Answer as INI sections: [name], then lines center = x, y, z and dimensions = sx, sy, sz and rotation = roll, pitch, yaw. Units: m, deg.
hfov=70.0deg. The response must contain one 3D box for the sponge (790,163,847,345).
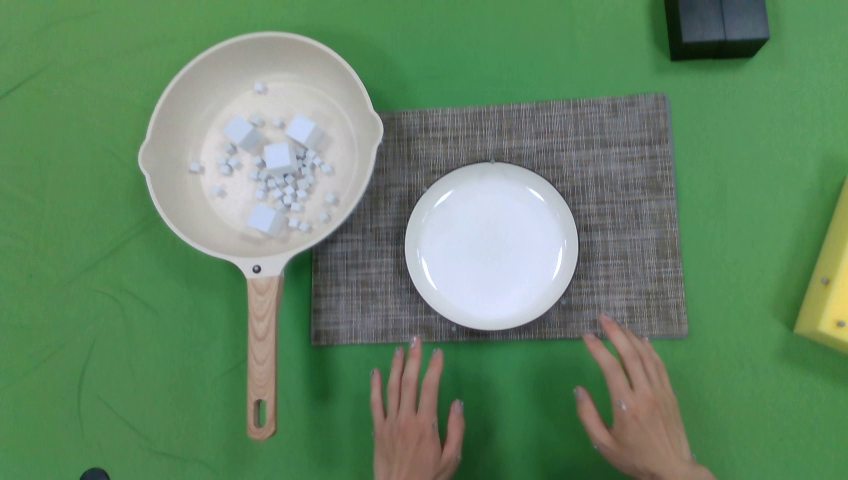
[sponge]
center = 0.511, 0.019, 0.672
dimensions = 0.118, 0.061, 0.206
rotation = 21, 84, 10

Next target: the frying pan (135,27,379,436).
[frying pan]
center = -0.194, -0.018, 0.726
dimensions = 0.306, 0.103, 0.484
rotation = -6, 72, 7

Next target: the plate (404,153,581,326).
[plate]
center = 0.080, 0.000, 0.728
dimensions = 0.207, 0.039, 0.207
rotation = -1, 81, 6
